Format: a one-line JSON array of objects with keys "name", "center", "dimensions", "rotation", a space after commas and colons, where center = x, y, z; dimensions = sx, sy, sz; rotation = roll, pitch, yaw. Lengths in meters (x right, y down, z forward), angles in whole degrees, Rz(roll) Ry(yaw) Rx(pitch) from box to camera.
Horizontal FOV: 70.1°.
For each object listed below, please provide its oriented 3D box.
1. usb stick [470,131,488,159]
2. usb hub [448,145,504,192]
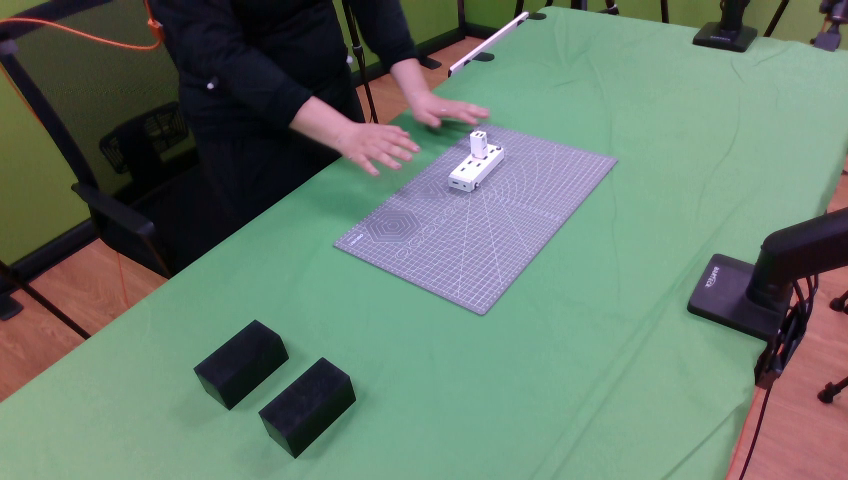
[{"name": "usb stick", "center": [0.100, -0.166, 1.099], "dimensions": [0.027, 0.059, 0.021], "rotation": [18, 46, 25]}, {"name": "usb hub", "center": [0.097, -0.133, 1.105], "dimensions": [0.049, 0.025, 0.125], "rotation": [20, 48, 28]}]
